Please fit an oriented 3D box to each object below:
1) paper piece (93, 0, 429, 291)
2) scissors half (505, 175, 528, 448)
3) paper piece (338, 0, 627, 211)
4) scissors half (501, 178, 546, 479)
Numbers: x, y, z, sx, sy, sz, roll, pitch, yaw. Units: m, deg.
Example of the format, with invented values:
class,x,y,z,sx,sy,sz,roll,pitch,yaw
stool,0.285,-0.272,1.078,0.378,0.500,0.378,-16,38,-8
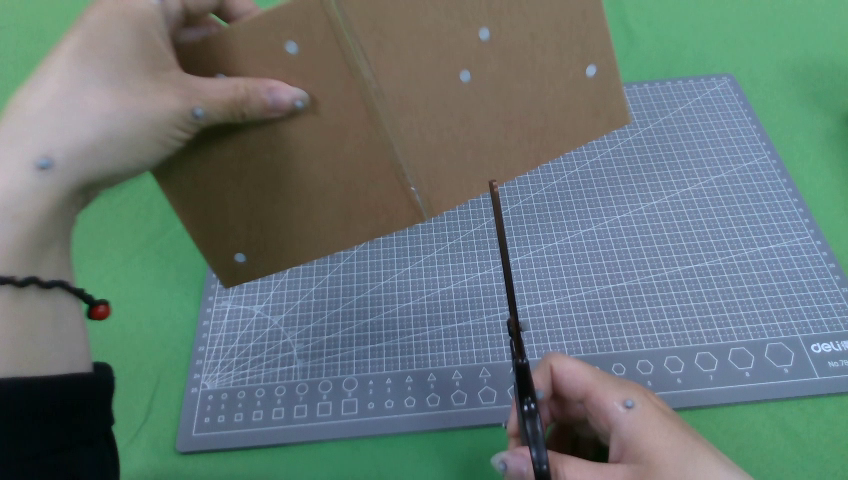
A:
class,x,y,z,sx,sy,sz,roll,pitch,yaw
paper piece,-0.086,-0.046,0.329,0.138,0.137,0.008,-18,21,13
scissors half,0.047,0.047,0.301,0.013,0.177,0.039,-5,34,7
paper piece,0.037,-0.097,0.318,0.136,0.136,0.004,-22,28,-4
scissors half,0.046,0.056,0.284,0.013,0.176,0.040,-8,18,2
